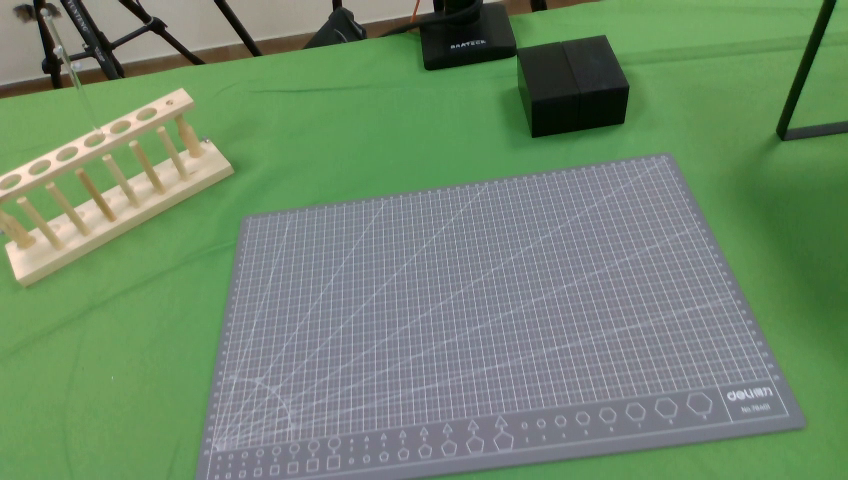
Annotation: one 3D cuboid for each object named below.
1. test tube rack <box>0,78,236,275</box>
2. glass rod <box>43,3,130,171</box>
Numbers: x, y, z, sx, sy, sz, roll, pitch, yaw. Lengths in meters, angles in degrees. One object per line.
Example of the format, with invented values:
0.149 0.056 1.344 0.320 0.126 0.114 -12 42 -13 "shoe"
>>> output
-0.337 -0.071 0.645 0.242 0.086 0.066 -33 53 -17 "test tube rack"
-0.335 -0.139 0.614 0.008 0.201 0.008 -3 42 3 "glass rod"
